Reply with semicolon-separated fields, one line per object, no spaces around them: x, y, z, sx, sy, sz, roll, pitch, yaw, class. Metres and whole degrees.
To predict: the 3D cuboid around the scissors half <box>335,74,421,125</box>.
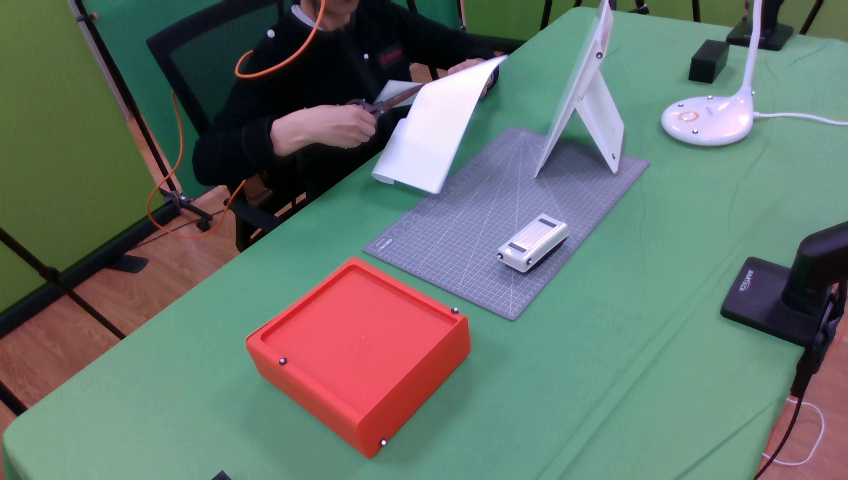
-0.084;-0.259;1.095;0.175;0.040;0.013;-24;10;6;scissors half

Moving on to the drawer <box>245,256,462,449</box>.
-0.089;0.136;0.792;0.210;0.073;0.195;26;51;34;drawer

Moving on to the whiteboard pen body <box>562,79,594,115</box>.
0.328;-0.306;1.277;0.017;0.017;0.141;20;52;30;whiteboard pen body

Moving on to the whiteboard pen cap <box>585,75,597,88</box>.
0.362;-0.343;1.310;0.018;0.018;0.033;19;54;29;whiteboard pen cap

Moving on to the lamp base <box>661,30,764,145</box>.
0.535;-0.287;1.096;0.179;0.181;0.159;-10;40;-4;lamp base

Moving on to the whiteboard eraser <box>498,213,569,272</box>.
0.168;0.006;0.923;0.113;0.042;0.055;-36;48;-28;whiteboard eraser

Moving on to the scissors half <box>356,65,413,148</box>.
-0.068;-0.242;1.099;0.040;0.175;0.013;30;11;-9;scissors half

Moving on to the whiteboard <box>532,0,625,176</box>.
0.320;-0.259;1.050;0.144;0.306;0.217;21;45;5;whiteboard

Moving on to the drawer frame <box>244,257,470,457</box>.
-0.084;0.138;0.788;0.212;0.083;0.202;25;50;33;drawer frame
